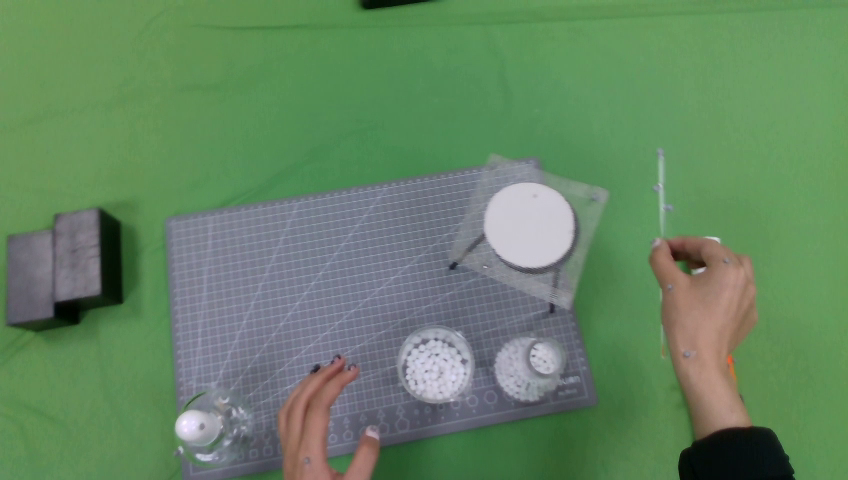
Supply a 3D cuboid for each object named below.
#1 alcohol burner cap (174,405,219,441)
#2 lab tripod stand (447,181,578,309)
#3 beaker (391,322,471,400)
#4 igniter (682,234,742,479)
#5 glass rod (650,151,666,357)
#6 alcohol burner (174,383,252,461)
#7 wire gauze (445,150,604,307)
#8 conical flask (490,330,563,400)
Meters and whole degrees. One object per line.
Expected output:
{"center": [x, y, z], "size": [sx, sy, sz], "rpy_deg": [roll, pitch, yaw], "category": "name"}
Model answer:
{"center": [-0.214, 0.169, 0.565], "size": [0.034, 0.048, 0.033], "rpy_deg": [1, 67, -2], "category": "alcohol burner cap"}
{"center": [0.099, 0.005, 0.641], "size": [0.148, 0.132, 0.147], "rpy_deg": [0, 76, 1], "category": "lab tripod stand"}
{"center": [0.010, 0.130, 0.623], "size": [0.083, 0.101, 0.074], "rpy_deg": [43, 79, 10], "category": "beaker"}
{"center": [0.316, 0.127, 0.668], "size": [0.057, 0.025, 0.275], "rpy_deg": [4, 74, -10], "category": "igniter"}
{"center": [0.222, 0.016, 0.573], "size": [0.008, 0.008, 0.200], "rpy_deg": [-7, 100, -3], "category": "glass rod"}
{"center": [-0.215, 0.180, 0.600], "size": [0.078, 0.119, 0.077], "rpy_deg": [0, 76, 1], "category": "alcohol burner"}
{"center": [0.096, -0.015, 0.577], "size": [0.125, 0.011, 0.121], "rpy_deg": [21, 77, 6], "category": "wire gauze"}
{"center": [0.110, 0.122, 0.615], "size": [0.075, 0.122, 0.075], "rpy_deg": [0, 74, 0], "category": "conical flask"}
